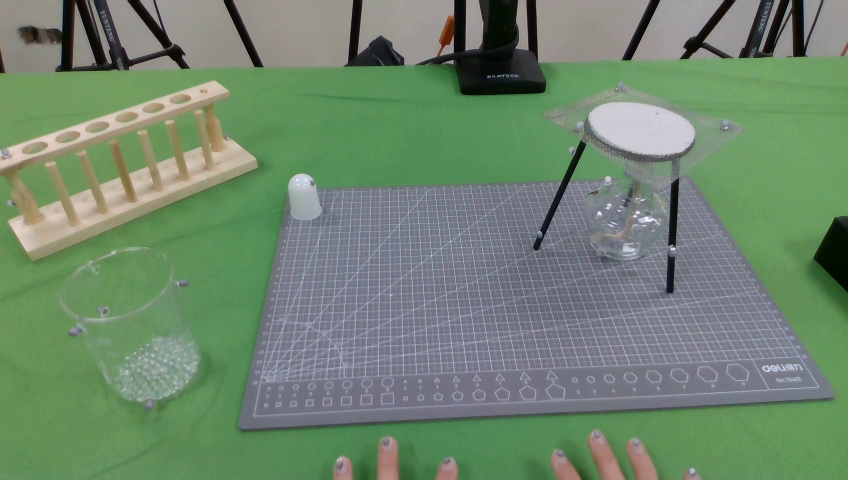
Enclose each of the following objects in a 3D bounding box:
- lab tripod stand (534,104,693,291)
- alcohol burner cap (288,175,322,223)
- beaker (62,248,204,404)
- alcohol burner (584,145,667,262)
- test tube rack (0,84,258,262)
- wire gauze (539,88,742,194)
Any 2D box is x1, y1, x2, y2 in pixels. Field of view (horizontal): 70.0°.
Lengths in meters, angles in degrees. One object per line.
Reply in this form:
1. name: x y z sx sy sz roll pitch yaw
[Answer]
1. lab tripod stand: 0.182 -0.042 0.547 0.148 0.132 0.147 2 40 -1
2. alcohol burner cap: -0.124 -0.045 0.620 0.034 0.048 0.033 1 41 0
3. beaker: -0.211 0.066 0.450 0.083 0.101 0.074 26 47 28
4. alcohol burner: 0.190 -0.038 0.559 0.078 0.120 0.077 1 43 0
5. test tube rack: -0.303 -0.077 0.628 0.242 0.086 0.066 -30 49 -31
6. wire gauze: 0.178 -0.092 0.502 0.121 0.011 0.124 -27 49 -30
